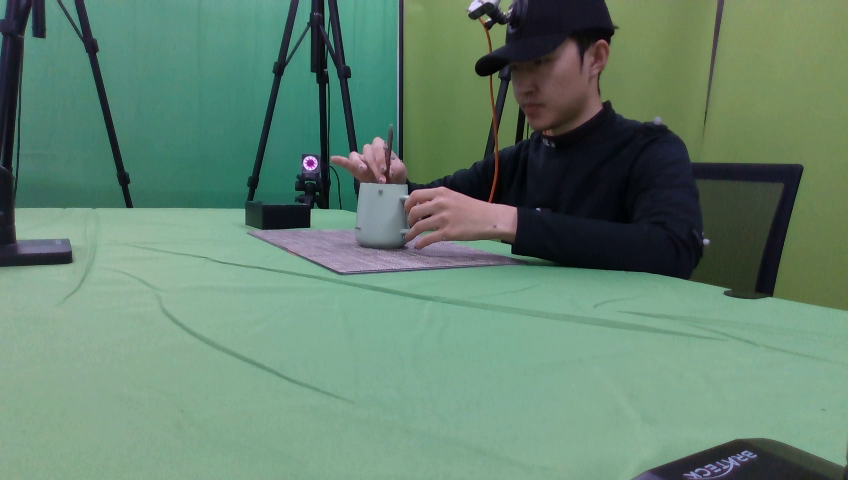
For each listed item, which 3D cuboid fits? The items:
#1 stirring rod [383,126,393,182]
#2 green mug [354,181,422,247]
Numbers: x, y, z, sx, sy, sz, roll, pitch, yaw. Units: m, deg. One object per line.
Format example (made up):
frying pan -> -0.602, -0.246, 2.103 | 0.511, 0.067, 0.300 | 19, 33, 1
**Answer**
stirring rod -> -0.064, -0.100, 1.001 | 0.006, 0.176, 0.014 | 1, 12, -28
green mug -> -0.055, -0.042, 0.989 | 0.125, 0.105, 0.093 | 7, 8, 35
